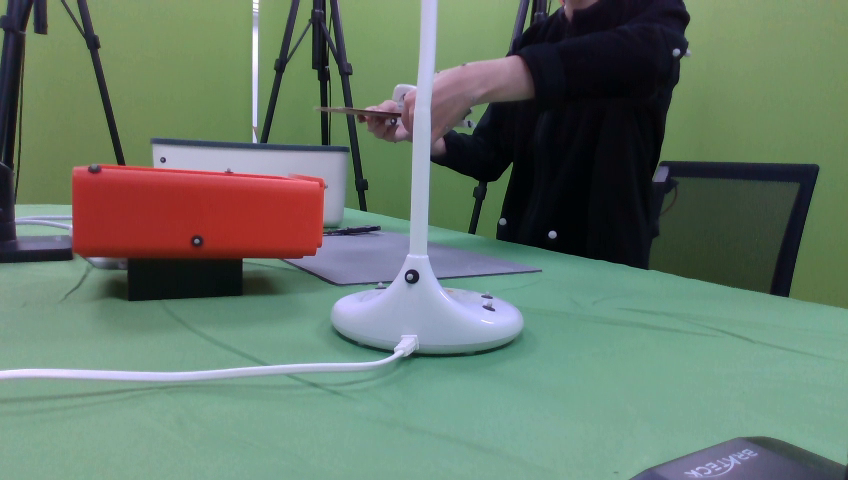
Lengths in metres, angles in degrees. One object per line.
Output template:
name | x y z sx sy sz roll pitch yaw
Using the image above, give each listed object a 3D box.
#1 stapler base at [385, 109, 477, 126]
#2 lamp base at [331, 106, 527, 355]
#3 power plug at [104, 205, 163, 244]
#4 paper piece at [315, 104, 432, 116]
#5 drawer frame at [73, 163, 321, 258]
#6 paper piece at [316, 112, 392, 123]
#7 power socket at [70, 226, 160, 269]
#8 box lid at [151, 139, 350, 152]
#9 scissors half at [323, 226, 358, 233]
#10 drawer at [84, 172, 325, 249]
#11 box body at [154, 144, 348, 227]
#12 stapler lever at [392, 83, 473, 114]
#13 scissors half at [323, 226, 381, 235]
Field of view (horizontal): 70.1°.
stapler base | 0.008 -0.174 0.851 0.130 0.024 0.041 8 16 23
lamp base | 0.006 -0.012 0.478 0.161 0.180 0.179 2 10 2
power plug | -0.390 -0.021 0.815 0.073 0.052 0.035 -1 7 -27
paper piece | -0.078 -0.192 0.898 0.139 0.008 0.135 1 12 -28
drawer frame | -0.232 -0.034 0.635 0.214 0.082 0.201 1 8 -23
paper piece | -0.087 -0.182 0.902 0.136 0.004 0.135 2 14 -21
power socket | -0.409 0.004 0.793 0.072 0.032 0.225 -2 8 -38
box lid | -0.352 -0.191 1.256 0.373 0.015 0.262 0 8 -18
scissors half | -0.166 -0.015 1.094 0.040 0.013 0.176 4 7 39
drawer | -0.227 -0.036 0.638 0.213 0.073 0.193 -1 9 -23
box body | -0.357 -0.119 1.264 0.365 0.160 0.253 0 7 -18
stapler lever | 0.010 -0.198 0.845 0.117 0.040 0.027 8 16 23
scissors half | -0.153 -0.015 1.079 0.176 0.013 0.040 -6 2 -33
